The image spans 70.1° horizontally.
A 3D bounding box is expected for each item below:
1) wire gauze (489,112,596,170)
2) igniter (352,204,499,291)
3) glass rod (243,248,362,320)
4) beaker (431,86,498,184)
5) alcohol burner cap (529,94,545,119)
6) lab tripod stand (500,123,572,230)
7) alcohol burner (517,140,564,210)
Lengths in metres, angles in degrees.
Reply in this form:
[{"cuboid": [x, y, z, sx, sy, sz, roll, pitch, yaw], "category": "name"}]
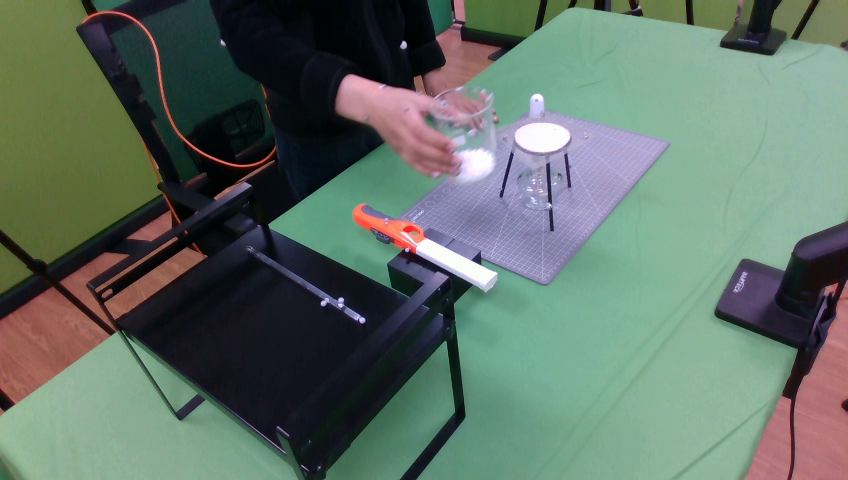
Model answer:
[{"cuboid": [0.183, -0.161, 0.942, 0.122, 0.011, 0.124, -24, 44, -18], "category": "wire gauze"}, {"cuboid": [-0.009, 0.005, 0.895, 0.274, 0.025, 0.057, 27, 48, 32], "category": "igniter"}, {"cuboid": [-0.140, 0.045, 0.674, 0.198, 0.008, 0.008, 25, 50, 32], "category": "glass rod"}, {"cuboid": [0.055, -0.127, 0.738, 0.084, 0.101, 0.073, -27, 44, -19], "category": "beaker"}, {"cuboid": [0.233, -0.277, 1.247, 0.034, 0.048, 0.033, -5, 41, 5], "category": "alcohol burner cap"}, {"cuboid": [0.194, -0.110, 0.985, 0.148, 0.132, 0.147, -3, 41, 3], "category": "lab tripod stand"}, {"cuboid": [0.193, -0.111, 1.001, 0.078, 0.119, 0.077, -5, 38, 5], "category": "alcohol burner"}]
